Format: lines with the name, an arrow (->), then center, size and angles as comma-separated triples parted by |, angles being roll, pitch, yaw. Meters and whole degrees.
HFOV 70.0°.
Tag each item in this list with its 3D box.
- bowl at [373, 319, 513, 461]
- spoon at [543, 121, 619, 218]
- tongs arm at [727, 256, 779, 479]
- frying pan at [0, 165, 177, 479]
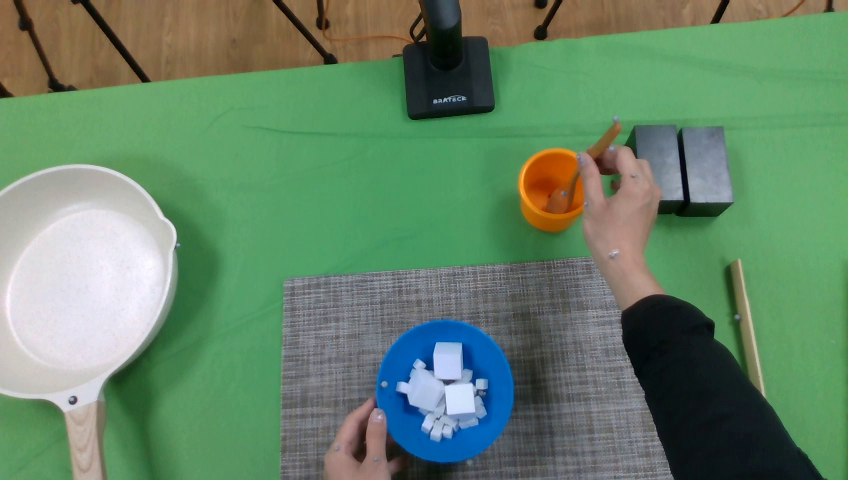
bowl -> 0.023, 0.169, 0.685 | 0.151, 0.077, 0.150 | -1, 74, 4
spoon -> 0.169, -0.075, 0.672 | 0.022, 0.194, 0.041 | 4, 68, -4
tongs arm -> 0.388, 0.205, 0.681 | 0.028, 0.028, 0.385 | -5, 74, 1
frying pan -> -0.412, 0.139, 0.716 | 0.307, 0.103, 0.483 | -20, 65, -1
